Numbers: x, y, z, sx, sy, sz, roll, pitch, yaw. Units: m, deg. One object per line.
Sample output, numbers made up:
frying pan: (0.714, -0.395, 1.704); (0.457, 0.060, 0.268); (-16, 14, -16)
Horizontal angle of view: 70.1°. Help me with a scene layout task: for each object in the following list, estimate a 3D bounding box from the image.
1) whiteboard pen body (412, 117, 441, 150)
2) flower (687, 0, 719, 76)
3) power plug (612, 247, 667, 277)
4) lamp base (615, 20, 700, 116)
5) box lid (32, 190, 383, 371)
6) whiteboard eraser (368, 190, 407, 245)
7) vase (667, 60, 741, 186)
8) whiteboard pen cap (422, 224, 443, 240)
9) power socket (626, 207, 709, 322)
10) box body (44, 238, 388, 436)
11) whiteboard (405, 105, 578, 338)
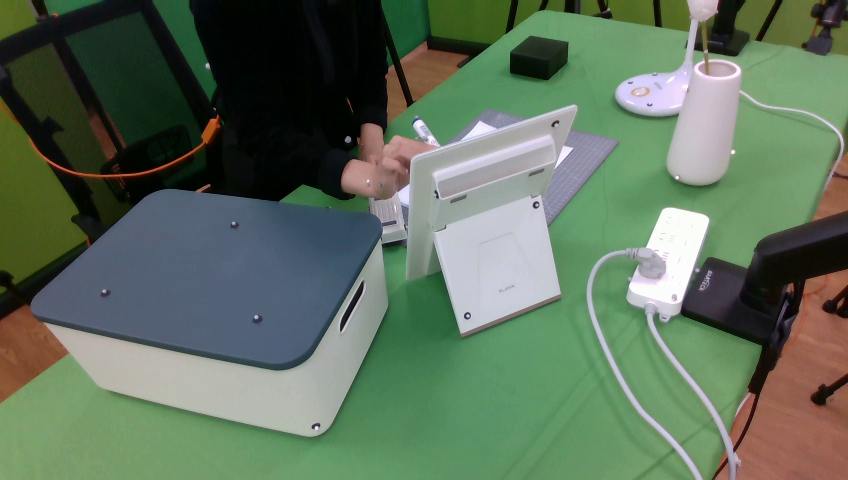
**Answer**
whiteboard pen body: (0.021, -0.114, 0.808); (0.017, 0.017, 0.140); (-23, 60, -18)
flower: (0.436, -0.242, 0.934); (0.038, 0.364, 0.043); (-24, 49, 9)
power plug: (0.306, 0.031, 0.852); (0.072, 0.053, 0.035); (21, 48, 38)
lamp base: (0.484, -0.364, 1.211); (0.180, 0.181, 0.159); (-15, 41, -14)
box lid: (-0.257, 0.032, 0.750); (0.370, 0.015, 0.263); (7, 41, 16)
whiteboard eraser: (-0.061, -0.035, 1.006); (0.056, 0.042, 0.112); (-9, 40, -3)
vase: (0.463, -0.189, 0.994); (0.098, 0.201, 0.097); (-4, 40, 4)
whiteboard pen cap: (0.013, -0.013, 0.988); (0.033, 0.018, 0.018); (-30, 46, -21)
power socket: (0.360, 0.026, 0.886); (0.072, 0.033, 0.227); (17, 46, 27)
box body: (-0.251, 0.088, 0.799); (0.362, 0.161, 0.254); (7, 42, 16)
whiteboard: (0.102, 0.003, 0.787); (0.218, 0.306, 0.143); (-19, 62, -14)
